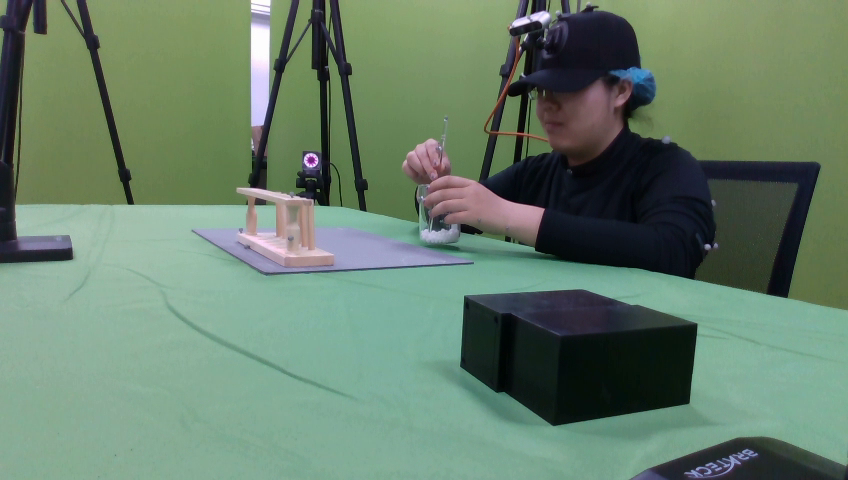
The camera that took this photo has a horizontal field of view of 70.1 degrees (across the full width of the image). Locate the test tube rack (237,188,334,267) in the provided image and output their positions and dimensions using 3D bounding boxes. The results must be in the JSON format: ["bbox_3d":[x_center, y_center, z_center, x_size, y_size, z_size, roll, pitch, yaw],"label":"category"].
[{"bbox_3d":[-0.202,-0.024,0.855,0.067,0.085,0.241,-2,8,-30],"label":"test tube rack"}]

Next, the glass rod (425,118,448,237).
[{"bbox_3d":[0.021,-0.104,1.005,0.008,0.199,0.008,9,4,0],"label":"glass rod"}]

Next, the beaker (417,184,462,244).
[{"bbox_3d":[0.030,-0.045,1.014,0.083,0.100,0.074,5,8,41],"label":"beaker"}]
